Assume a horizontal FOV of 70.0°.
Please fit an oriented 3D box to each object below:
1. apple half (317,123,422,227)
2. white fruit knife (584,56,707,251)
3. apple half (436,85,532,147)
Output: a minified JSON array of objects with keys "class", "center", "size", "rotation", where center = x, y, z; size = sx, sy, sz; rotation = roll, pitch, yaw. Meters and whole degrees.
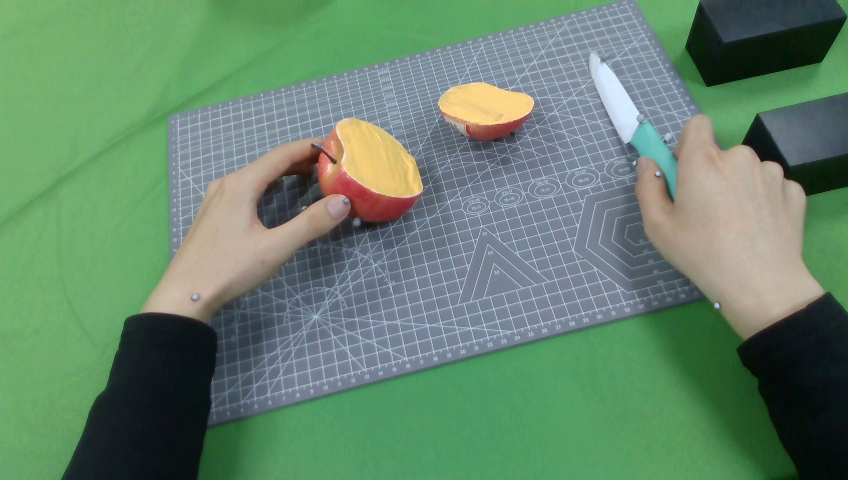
[{"class":"apple half","center":[-0.047,-0.042,0.470],"size":[0.075,0.053,0.080],"rotation":[9,48,-36]},{"class":"white fruit knife","center":[0.170,-0.081,0.484],"size":[0.027,0.016,0.205],"rotation":[-42,49,33]},{"class":"apple half","center":[0.047,-0.095,0.501],"size":[0.081,0.033,0.080],"rotation":[-2,41,2]}]
